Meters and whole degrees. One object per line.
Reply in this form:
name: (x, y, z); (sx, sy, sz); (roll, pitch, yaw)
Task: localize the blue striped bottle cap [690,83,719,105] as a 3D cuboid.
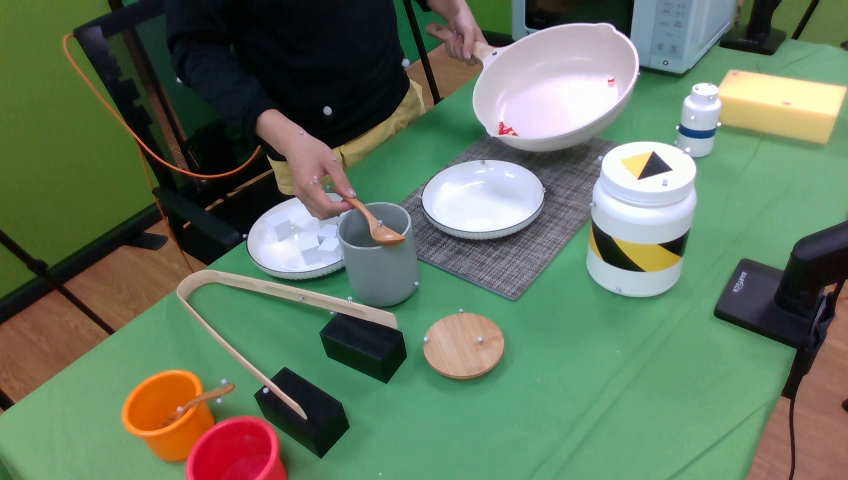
blue striped bottle cap: (0.481, -0.251, 1.038); (0.044, 0.021, 0.044); (-5, 40, 5)

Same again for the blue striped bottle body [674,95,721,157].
blue striped bottle body: (0.486, -0.213, 1.071); (0.063, 0.121, 0.063); (-4, 41, 4)

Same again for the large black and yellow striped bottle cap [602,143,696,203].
large black and yellow striped bottle cap: (0.289, -0.088, 0.779); (0.115, 0.019, 0.114); (-5, 39, 4)

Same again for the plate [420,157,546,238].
plate: (0.099, -0.067, 1.017); (0.209, 0.038, 0.208); (-4, 40, 4)

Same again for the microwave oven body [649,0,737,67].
microwave oven body: (0.475, -0.602, 1.411); (0.438, 0.261, 0.327); (23, 50, 32)

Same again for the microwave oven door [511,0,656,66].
microwave oven door: (0.351, -0.540, 1.350); (0.353, 0.245, 0.039); (24, 50, 31)

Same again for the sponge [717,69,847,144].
sponge: (0.663, -0.256, 1.142); (0.205, 0.061, 0.118); (19, 47, 28)

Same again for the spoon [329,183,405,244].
spoon: (-0.085, -0.041, 0.837); (0.042, 0.021, 0.192); (-8, 35, -33)

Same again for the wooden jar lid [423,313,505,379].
wooden jar lid: (0.053, 0.142, 0.800); (0.108, 0.021, 0.108); (-5, 39, 4)

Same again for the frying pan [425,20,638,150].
frying pan: (0.168, -0.326, 1.139); (0.307, 0.103, 0.484); (-43, 57, -11)

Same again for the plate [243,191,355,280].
plate: (-0.187, -0.005, 0.992); (0.207, 0.039, 0.206); (-4, 40, 4)

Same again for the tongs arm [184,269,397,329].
tongs arm: (-0.203, 0.085, 0.847); (0.382, 0.027, 0.051); (11, 45, 34)

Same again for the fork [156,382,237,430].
fork: (-0.262, 0.189, 0.690); (0.018, 0.206, 0.028); (49, 43, -6)

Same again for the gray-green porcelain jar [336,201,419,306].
gray-green porcelain jar: (-0.064, 0.024, 0.872); (0.106, 0.127, 0.105); (-4, 41, 4)

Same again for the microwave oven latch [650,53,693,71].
microwave oven latch: (0.531, -0.386, 1.301); (0.078, 0.029, 0.030); (25, 51, 33)

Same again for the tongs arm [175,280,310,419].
tongs arm: (-0.254, 0.133, 0.801); (0.028, 0.028, 0.384); (-41, 41, -23)

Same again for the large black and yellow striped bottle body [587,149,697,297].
large black and yellow striped bottle body: (0.298, -0.026, 0.835); (0.131, 0.185, 0.130); (-4, 41, 4)
